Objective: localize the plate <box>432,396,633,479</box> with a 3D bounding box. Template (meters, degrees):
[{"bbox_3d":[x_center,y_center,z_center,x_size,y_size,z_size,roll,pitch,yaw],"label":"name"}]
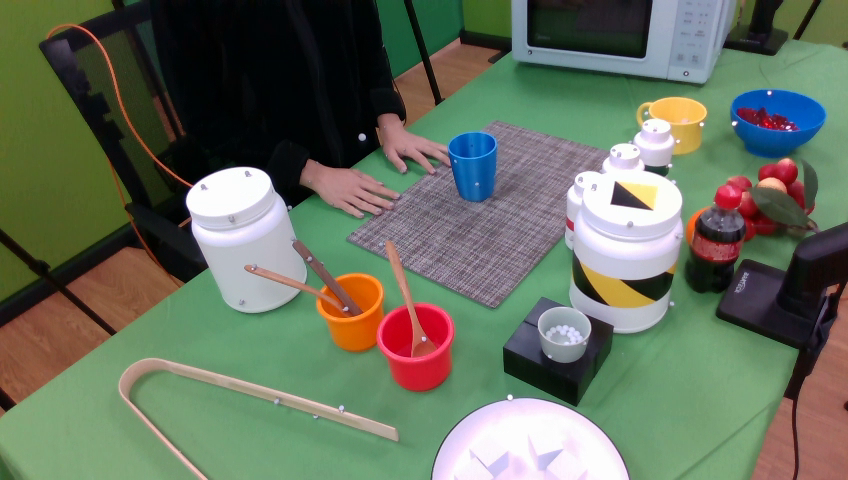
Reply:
[{"bbox_3d":[0.112,0.261,0.634,0.209,0.038,0.208,-5,40,4],"label":"plate"}]

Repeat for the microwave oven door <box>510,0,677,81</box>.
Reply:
[{"bbox_3d":[0.354,-0.478,1.290,0.353,0.245,0.039,15,45,25],"label":"microwave oven door"}]

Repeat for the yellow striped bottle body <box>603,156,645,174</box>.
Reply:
[{"bbox_3d":[0.313,-0.089,0.956,0.063,0.121,0.062,-4,40,4],"label":"yellow striped bottle body"}]

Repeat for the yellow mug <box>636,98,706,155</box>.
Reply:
[{"bbox_3d":[0.453,-0.217,1.128,0.100,0.064,0.129,-34,46,-27],"label":"yellow mug"}]

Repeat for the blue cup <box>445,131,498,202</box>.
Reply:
[{"bbox_3d":[0.087,-0.122,1.040,0.092,0.100,0.092,-5,42,5],"label":"blue cup"}]

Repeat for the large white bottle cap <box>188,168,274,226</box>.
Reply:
[{"bbox_3d":[-0.265,-0.061,0.831,0.115,0.018,0.114,-4,40,4],"label":"large white bottle cap"}]

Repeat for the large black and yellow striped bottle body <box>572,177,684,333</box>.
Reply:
[{"bbox_3d":[0.262,0.017,0.788,0.131,0.185,0.130,-5,40,4],"label":"large black and yellow striped bottle body"}]

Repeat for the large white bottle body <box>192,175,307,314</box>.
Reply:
[{"bbox_3d":[-0.256,0.003,0.885,0.130,0.185,0.130,-5,40,4],"label":"large white bottle body"}]

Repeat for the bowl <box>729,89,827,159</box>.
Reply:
[{"bbox_3d":[0.615,-0.197,1.069,0.151,0.077,0.150,-5,40,5],"label":"bowl"}]

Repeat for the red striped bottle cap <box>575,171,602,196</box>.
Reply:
[{"bbox_3d":[0.242,-0.081,0.876,0.044,0.018,0.044,-5,43,5],"label":"red striped bottle cap"}]

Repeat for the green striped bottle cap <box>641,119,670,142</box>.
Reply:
[{"bbox_3d":[0.371,-0.175,0.968,0.044,0.020,0.044,-5,41,5],"label":"green striped bottle cap"}]

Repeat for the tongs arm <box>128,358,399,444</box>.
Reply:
[{"bbox_3d":[-0.213,0.205,0.755,0.382,0.026,0.051,12,46,23],"label":"tongs arm"}]

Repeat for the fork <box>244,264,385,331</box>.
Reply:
[{"bbox_3d":[-0.142,0.078,0.806,0.209,0.018,0.028,30,33,-24],"label":"fork"}]

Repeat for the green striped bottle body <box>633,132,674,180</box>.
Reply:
[{"bbox_3d":[0.376,-0.135,1.001,0.063,0.120,0.063,-5,40,5],"label":"green striped bottle body"}]

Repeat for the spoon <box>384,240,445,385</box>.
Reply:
[{"bbox_3d":[-0.016,0.090,0.776,0.042,0.021,0.193,-17,85,-11],"label":"spoon"}]

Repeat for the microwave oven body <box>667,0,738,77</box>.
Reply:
[{"bbox_3d":[0.462,-0.552,1.369,0.439,0.261,0.326,15,45,26],"label":"microwave oven body"}]

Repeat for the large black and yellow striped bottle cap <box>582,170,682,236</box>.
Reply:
[{"bbox_3d":[0.252,-0.048,0.735,0.115,0.019,0.114,-3,40,3],"label":"large black and yellow striped bottle cap"}]

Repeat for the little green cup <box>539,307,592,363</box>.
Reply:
[{"bbox_3d":[0.168,0.115,0.721,0.061,0.039,0.061,-4,42,4],"label":"little green cup"}]

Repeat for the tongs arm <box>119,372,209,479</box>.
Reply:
[{"bbox_3d":[-0.258,0.257,0.700,0.384,0.028,0.028,24,55,34],"label":"tongs arm"}]

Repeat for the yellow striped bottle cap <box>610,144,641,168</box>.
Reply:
[{"bbox_3d":[0.307,-0.128,0.923,0.044,0.019,0.044,-5,40,5],"label":"yellow striped bottle cap"}]

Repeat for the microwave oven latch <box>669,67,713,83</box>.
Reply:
[{"bbox_3d":[0.556,-0.348,1.261,0.078,0.029,0.030,16,46,27],"label":"microwave oven latch"}]

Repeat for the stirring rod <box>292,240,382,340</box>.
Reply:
[{"bbox_3d":[-0.119,0.068,0.825,0.176,0.006,0.014,49,58,-4],"label":"stirring rod"}]

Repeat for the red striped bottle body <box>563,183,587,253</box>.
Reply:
[{"bbox_3d":[0.246,-0.041,0.910,0.063,0.120,0.062,-2,38,2],"label":"red striped bottle body"}]
